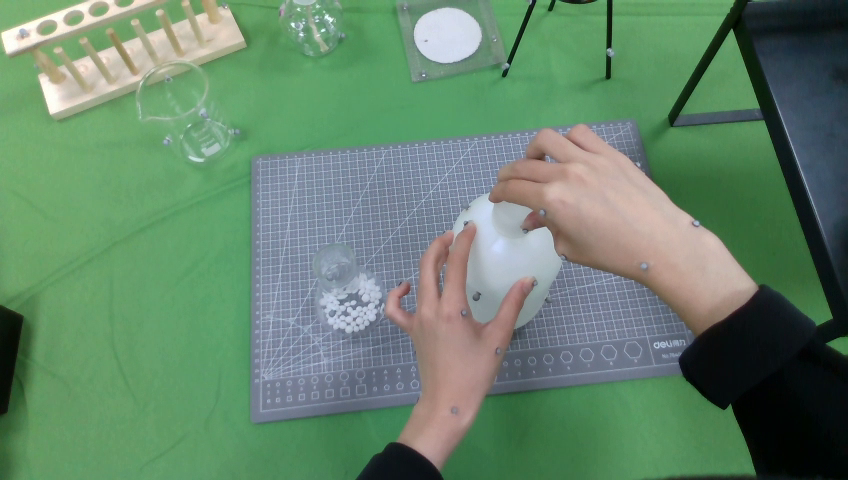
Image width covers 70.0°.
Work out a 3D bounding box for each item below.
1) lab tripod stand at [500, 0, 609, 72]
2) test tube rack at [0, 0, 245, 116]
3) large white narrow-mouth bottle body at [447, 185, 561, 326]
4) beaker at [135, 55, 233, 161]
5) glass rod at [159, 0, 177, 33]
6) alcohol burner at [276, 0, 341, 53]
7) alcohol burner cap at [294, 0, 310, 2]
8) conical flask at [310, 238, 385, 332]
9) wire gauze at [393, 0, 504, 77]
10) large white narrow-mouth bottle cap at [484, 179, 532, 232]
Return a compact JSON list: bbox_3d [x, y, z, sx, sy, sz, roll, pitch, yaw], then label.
[{"bbox_3d":[0.160,-0.265,0.695,0.148,0.132,0.147,1,67,-1],"label":"lab tripod stand"},{"bbox_3d":[-0.348,-0.240,0.714,0.242,0.086,0.066,-25,70,-10],"label":"test tube rack"},{"bbox_3d":[0.071,0.008,0.550,0.102,0.196,0.101,-1,67,3],"label":"large white narrow-mouth bottle body"},{"bbox_3d":[-0.260,-0.137,0.664,0.073,0.101,0.084,39,73,16],"label":"beaker"},{"bbox_3d":[-0.305,-0.302,0.668,0.008,0.201,0.008,2,65,-3],"label":"glass rod"},{"bbox_3d":[-0.139,-0.281,0.715,0.078,0.120,0.077,0,65,0],"label":"alcohol burner"},{"bbox_3d":[-0.140,-0.297,0.682,0.034,0.048,0.033,3,66,-7],"label":"alcohol burner cap"},{"bbox_3d":[-0.078,0.038,0.576,0.075,0.123,0.075,0,67,1],"label":"conical flask"},{"bbox_3d":[0.030,-0.267,0.764,0.121,0.011,0.124,-10,68,-5],"label":"wire gauze"},{"bbox_3d":[0.065,-0.027,0.470,0.038,0.024,0.037,-1,68,3],"label":"large white narrow-mouth bottle cap"}]
